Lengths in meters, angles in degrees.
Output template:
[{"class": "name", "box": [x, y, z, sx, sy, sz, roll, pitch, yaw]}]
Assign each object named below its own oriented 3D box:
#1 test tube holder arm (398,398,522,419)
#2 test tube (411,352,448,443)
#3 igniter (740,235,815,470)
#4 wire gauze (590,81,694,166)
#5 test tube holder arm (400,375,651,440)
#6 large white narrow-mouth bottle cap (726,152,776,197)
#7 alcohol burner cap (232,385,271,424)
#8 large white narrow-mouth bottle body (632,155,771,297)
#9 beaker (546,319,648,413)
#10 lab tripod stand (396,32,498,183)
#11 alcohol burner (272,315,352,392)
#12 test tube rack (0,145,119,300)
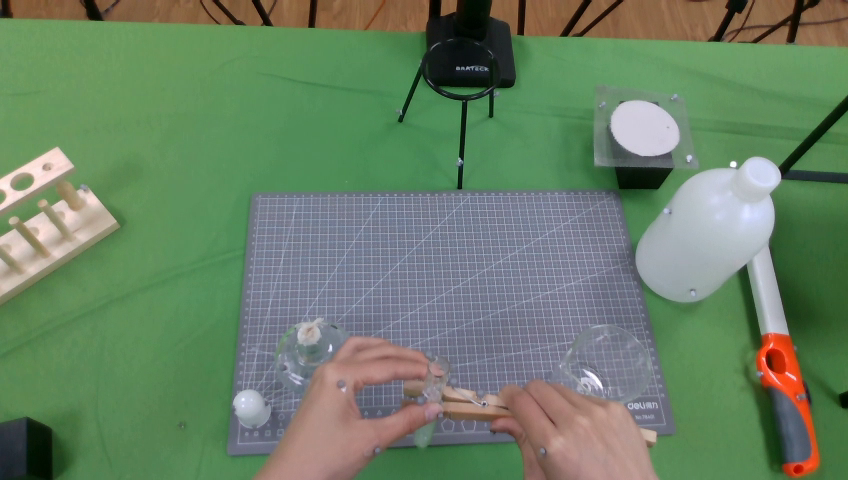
[{"class": "test tube holder arm", "box": [0.026, 0.121, 0.434, 0.088, 0.015, 0.010, -2, 56, -1]}, {"class": "test tube", "box": [0.002, 0.122, 0.451, 0.017, 0.151, 0.017, 3, 54, -4]}, {"class": "igniter", "box": [0.384, 0.110, 0.669, 0.057, 0.025, 0.274, 10, 61, -11]}, {"class": "wire gauze", "box": [0.264, -0.143, 0.746, 0.121, 0.011, 0.124, 6, 62, -1]}, {"class": "test tube holder arm", "box": [0.070, 0.120, 0.434, 0.178, 0.015, 0.013, 9, 57, 6]}, {"class": "large white narrow-mouth bottle cap", "box": [0.301, -0.061, 0.560, 0.038, 0.024, 0.037, 2, 62, -3]}, {"class": "alcohol burner cap", "box": [-0.169, 0.158, 0.586, 0.034, 0.048, 0.033, 1, 64, -2]}, {"class": "large white narrow-mouth bottle body", "box": [0.296, -0.020, 0.634, 0.102, 0.196, 0.101, 2, 62, -3]}, {"class": "beaker", "box": [0.162, 0.130, 0.596, 0.084, 0.101, 0.073, -4, 62, -6]}, {"class": "lab tripod stand", "box": [0.036, -0.163, 0.722, 0.148, 0.132, 0.147, 3, 63, -5]}, {"class": "alcohol burner", "box": [-0.108, 0.103, 0.579, 0.078, 0.120, 0.077, 3, 61, -5]}, {"class": "test tube rack", "box": [-0.453, 0.012, 0.616, 0.242, 0.086, 0.066, -39, 72, -22]}]
